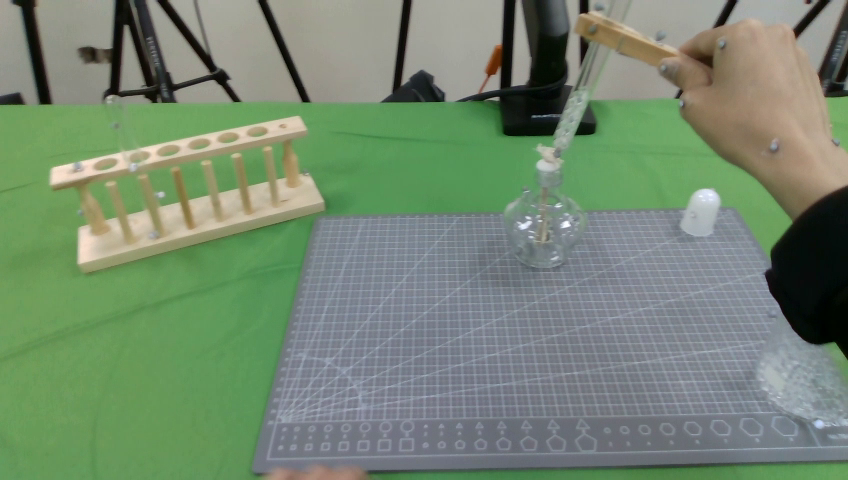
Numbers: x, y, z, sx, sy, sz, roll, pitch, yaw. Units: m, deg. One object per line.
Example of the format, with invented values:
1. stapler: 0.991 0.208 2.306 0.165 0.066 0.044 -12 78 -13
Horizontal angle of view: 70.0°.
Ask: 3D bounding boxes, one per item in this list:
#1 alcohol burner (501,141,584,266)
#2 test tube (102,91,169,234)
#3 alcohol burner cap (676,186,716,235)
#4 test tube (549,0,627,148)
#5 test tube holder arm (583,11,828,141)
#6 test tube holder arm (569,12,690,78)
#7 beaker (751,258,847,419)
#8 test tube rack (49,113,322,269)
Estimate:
1. alcohol burner: 0.111 -0.036 0.563 0.078 0.120 0.077 -2 38 2
2. test tube: -0.269 -0.068 0.569 0.017 0.152 0.017 -2 38 2
3. alcohol burner cap: 0.276 -0.033 0.611 0.034 0.048 0.033 -1 40 1
4. test tube: 0.122 -0.133 0.444 0.017 0.151 0.017 9 40 -7
5. test tube holder arm: 0.177 -0.113 0.402 0.177 0.015 0.013 38 45 28
6. test tube holder arm: 0.141 -0.135 0.417 0.087 0.015 0.010 32 42 22
7. beaker: 0.285 0.072 0.437 0.074 0.101 0.083 -20 42 -21
8. test tube rack: -0.235 -0.055 0.622 0.243 0.086 0.066 -16 42 -18
